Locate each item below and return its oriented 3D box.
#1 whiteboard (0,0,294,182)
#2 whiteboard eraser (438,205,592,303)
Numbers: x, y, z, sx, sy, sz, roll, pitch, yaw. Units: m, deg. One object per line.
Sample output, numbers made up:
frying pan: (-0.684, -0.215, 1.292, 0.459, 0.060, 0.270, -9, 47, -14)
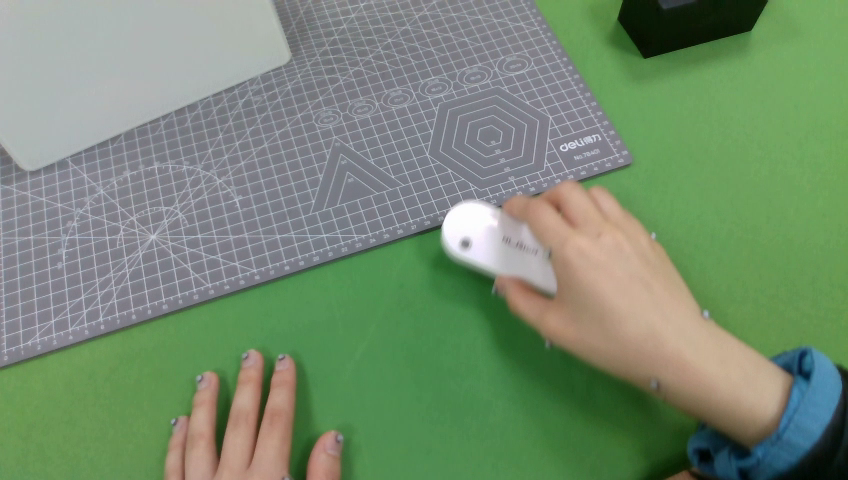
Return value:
whiteboard: (-0.257, -0.237, 0.409, 0.217, 0.308, 0.142, -27, 45, -13)
whiteboard eraser: (0.058, 0.009, 0.391, 0.101, 0.019, 0.041, 21, 71, 4)
